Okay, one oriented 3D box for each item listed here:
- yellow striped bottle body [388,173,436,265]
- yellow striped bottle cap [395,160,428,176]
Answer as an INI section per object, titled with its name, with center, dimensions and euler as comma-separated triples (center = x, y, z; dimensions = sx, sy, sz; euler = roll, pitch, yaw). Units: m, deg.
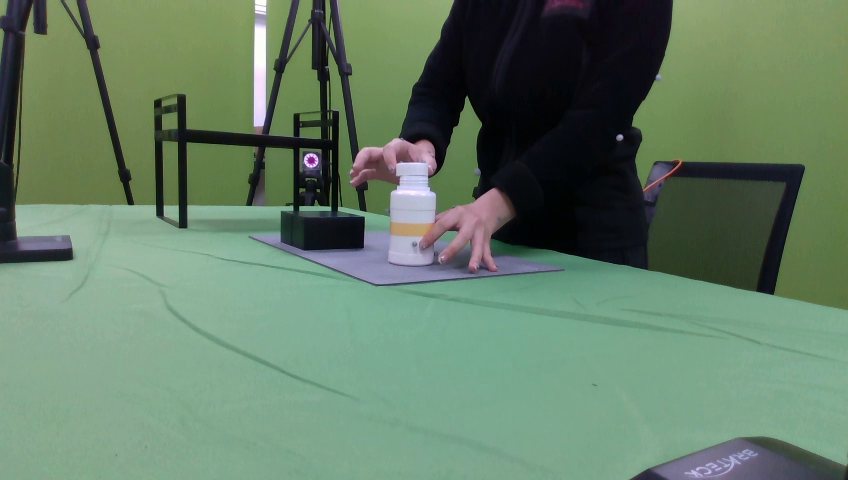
[yellow striped bottle body]
center = -0.016, -0.030, 0.813
dimensions = 0.063, 0.120, 0.063
euler = 2, 7, 0
[yellow striped bottle cap]
center = -0.017, -0.096, 0.810
dimensions = 0.044, 0.018, 0.044
euler = -1, 1, 0
